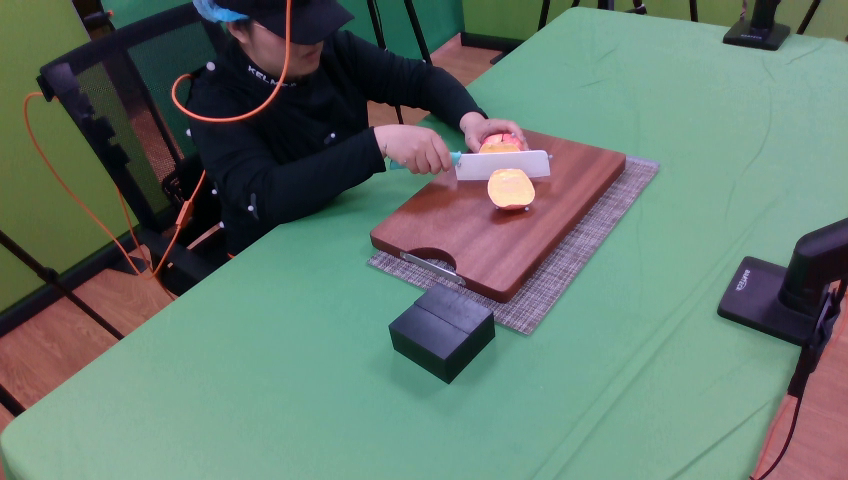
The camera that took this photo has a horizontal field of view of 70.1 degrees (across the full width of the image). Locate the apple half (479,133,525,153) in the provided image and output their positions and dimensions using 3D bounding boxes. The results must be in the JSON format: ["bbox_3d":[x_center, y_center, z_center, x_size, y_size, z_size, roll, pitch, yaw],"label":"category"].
[{"bbox_3d":[0.140,-0.151,1.055,0.080,0.075,0.053,1,37,20],"label":"apple half"}]

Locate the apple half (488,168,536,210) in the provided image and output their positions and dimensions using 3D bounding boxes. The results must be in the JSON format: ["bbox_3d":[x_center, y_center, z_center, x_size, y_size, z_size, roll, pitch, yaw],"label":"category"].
[{"bbox_3d":[0.143,-0.080,0.995,0.081,0.033,0.081,1,62,-1],"label":"apple half"}]

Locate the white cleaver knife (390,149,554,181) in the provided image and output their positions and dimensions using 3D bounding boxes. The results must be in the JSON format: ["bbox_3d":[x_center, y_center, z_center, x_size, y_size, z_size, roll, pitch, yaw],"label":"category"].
[{"bbox_3d":[0.079,-0.126,1.046,0.285,0.066,0.021,1,42,14],"label":"white cleaver knife"}]
